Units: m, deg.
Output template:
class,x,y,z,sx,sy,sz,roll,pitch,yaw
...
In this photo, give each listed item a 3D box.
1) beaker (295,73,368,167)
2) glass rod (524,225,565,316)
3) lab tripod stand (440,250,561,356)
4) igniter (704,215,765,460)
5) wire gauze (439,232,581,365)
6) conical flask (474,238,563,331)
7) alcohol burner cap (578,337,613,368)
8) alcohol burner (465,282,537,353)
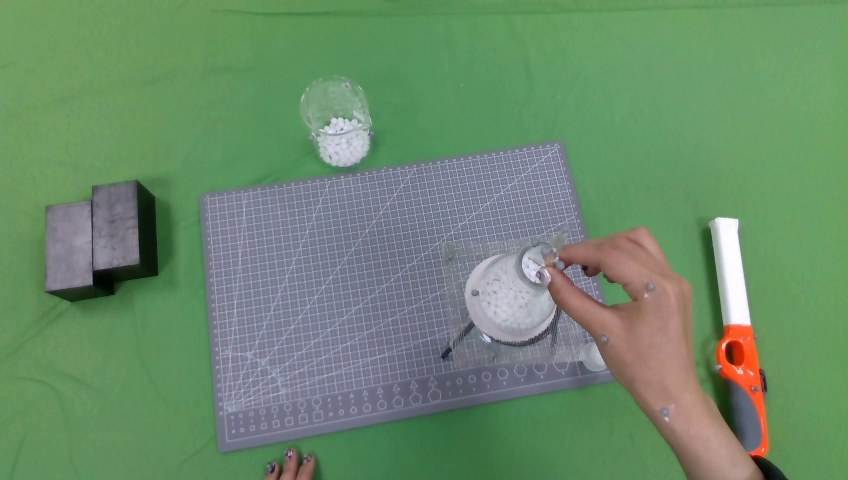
class,x,y,z,sx,sy,sz,roll,pitch,yaw
beaker,-0.101,-0.134,0.708,0.084,0.101,0.074,25,74,5
glass rod,0.089,0.030,0.464,0.008,0.201,0.008,-1,68,3
lab tripod stand,0.081,0.075,0.631,0.148,0.132,0.147,0,75,-1
igniter,0.351,0.104,0.689,0.057,0.025,0.275,4,73,-11
wire gauze,0.081,0.054,0.568,0.125,0.011,0.121,-3,76,-5
conical flask,0.085,0.033,0.513,0.075,0.122,0.075,1,75,-2
alcohol burner cap,0.192,0.123,0.667,0.034,0.048,0.033,0,73,-1
alcohol burner,0.083,0.079,0.640,0.078,0.120,0.077,0,73,1
